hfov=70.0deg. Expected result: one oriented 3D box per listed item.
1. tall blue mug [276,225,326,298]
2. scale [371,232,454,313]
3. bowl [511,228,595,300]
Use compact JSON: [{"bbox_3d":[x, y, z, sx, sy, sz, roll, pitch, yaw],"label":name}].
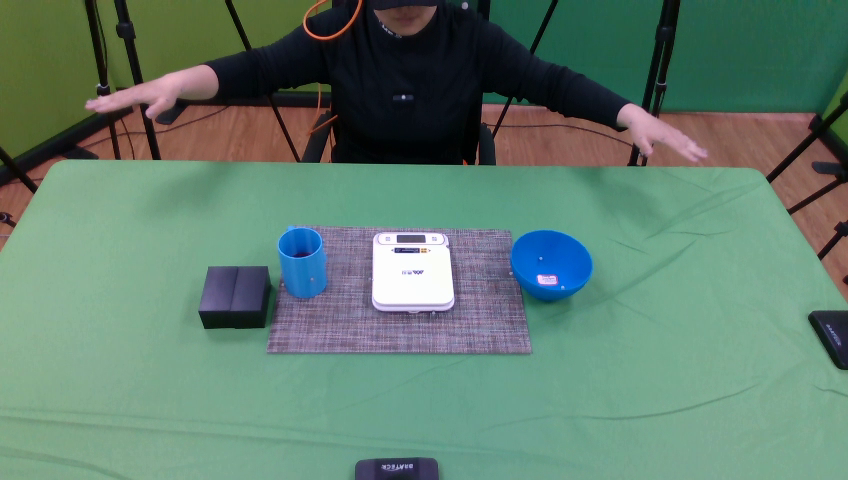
[{"bbox_3d":[-0.228,0.032,1.083,0.107,0.108,0.077,30,52,23],"label":"tall blue mug"},{"bbox_3d":[-0.023,0.050,1.134,0.149,0.032,0.199,1,46,-4],"label":"scale"},{"bbox_3d":[0.230,0.058,1.118,0.151,0.077,0.150,2,46,-2],"label":"bowl"}]
